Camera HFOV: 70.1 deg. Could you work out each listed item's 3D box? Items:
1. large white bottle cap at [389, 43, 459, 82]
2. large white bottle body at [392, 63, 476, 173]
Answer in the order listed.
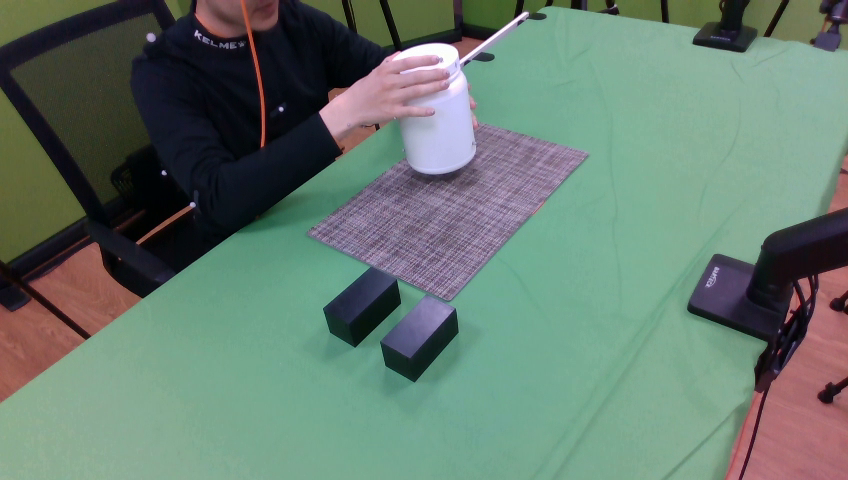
[{"bbox_3d":[0.000,-0.293,0.995,0.115,0.018,0.114,-8,40,7],"label":"large white bottle cap"},{"bbox_3d":[0.016,-0.225,1.051,0.130,0.185,0.130,-8,39,7],"label":"large white bottle body"}]
